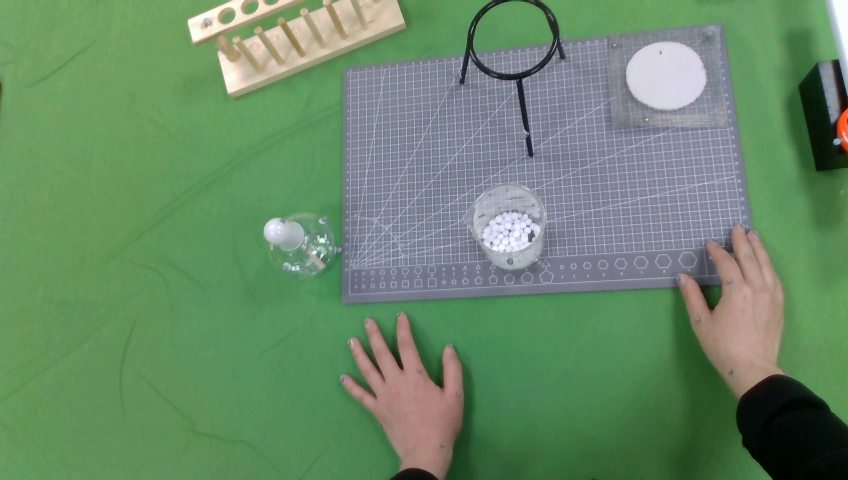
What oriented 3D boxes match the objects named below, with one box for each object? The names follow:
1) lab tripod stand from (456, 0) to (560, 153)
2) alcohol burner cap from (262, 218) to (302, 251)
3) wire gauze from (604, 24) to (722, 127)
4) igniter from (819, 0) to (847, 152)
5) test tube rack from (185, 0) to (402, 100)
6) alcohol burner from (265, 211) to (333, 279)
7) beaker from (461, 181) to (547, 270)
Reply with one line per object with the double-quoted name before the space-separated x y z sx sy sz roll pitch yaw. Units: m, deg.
"lab tripod stand" 0.096 -0.183 0.652 0.148 0.132 0.147 -2 78 9
"alcohol burner cap" -0.152 -0.007 0.636 0.034 0.048 0.033 -2 80 10
"wire gauze" 0.269 -0.185 0.685 0.125 0.011 0.121 1 77 8
"igniter" 0.425 -0.136 0.589 0.057 0.025 0.275 -5 74 13
"test tube rack" -0.157 -0.263 0.746 0.242 0.086 0.066 -21 74 5
"alcohol burner" -0.145 0.001 0.671 0.078 0.120 0.077 -2 75 10
"beaker" 0.086 -0.011 0.634 0.084 0.101 0.073 2 77 12
